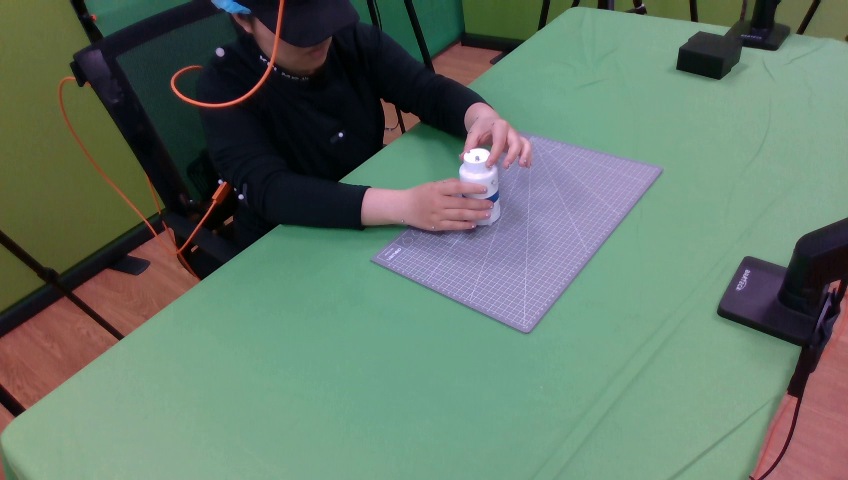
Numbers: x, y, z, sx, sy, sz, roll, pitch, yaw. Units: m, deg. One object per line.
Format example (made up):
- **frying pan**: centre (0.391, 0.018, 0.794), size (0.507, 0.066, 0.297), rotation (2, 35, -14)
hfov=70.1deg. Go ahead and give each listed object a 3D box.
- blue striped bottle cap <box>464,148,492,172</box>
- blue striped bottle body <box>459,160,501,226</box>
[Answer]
- **blue striped bottle cap**: centre (0.085, -0.127, 0.957), size (0.044, 0.021, 0.044), rotation (-5, 41, 5)
- **blue striped bottle body**: centre (0.092, -0.088, 0.989), size (0.063, 0.121, 0.063), rotation (-6, 40, 5)
